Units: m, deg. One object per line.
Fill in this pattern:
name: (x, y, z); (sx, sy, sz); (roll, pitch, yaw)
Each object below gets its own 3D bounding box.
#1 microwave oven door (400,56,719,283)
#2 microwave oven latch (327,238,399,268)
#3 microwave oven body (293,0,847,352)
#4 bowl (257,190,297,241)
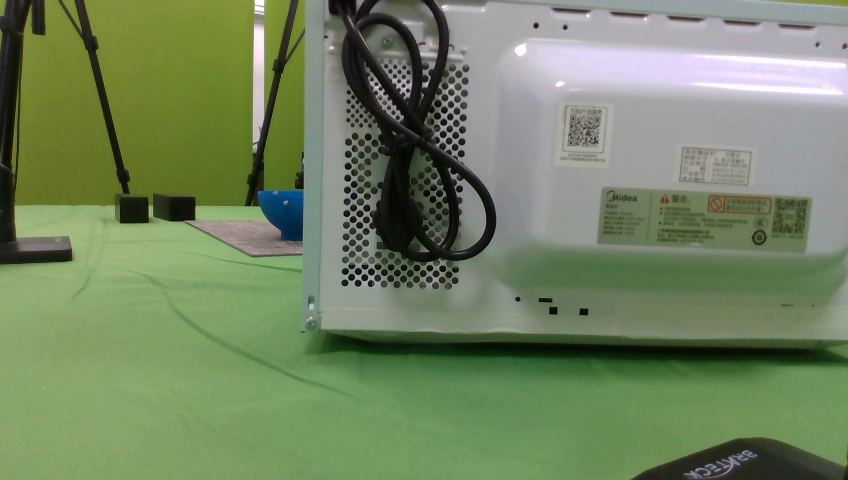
microwave oven door: (0.155, -0.077, 0.698); (0.356, 0.243, 0.039); (2, 8, -5)
microwave oven latch: (-0.069, 0.015, 0.694); (0.079, 0.029, 0.030); (3, 7, -3)
microwave oven body: (0.122, -0.055, 0.550); (0.442, 0.260, 0.325); (3, 7, -5)
bowl: (-0.206, -0.041, 1.027); (0.151, 0.077, 0.151); (3, 8, 0)
